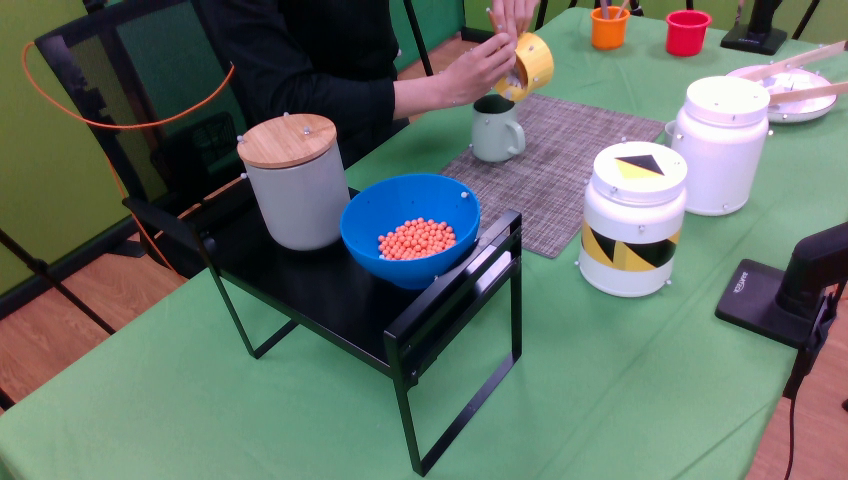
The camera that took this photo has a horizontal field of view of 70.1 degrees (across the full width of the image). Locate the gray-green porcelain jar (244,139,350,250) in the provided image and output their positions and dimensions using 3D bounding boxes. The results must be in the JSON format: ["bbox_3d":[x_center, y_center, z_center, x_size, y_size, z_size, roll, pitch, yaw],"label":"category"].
[{"bbox_3d":[-0.143,-0.060,0.714,0.106,0.127,0.105,-4,41,4],"label":"gray-green porcelain jar"}]

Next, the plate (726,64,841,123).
[{"bbox_3d":[0.695,-0.283,1.189,0.207,0.039,0.206,-4,40,4],"label":"plate"}]

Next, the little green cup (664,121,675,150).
[{"bbox_3d":[0.472,-0.188,1.113,0.061,0.039,0.061,-4,40,4],"label":"little green cup"}]

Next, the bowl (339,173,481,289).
[{"bbox_3d":[-0.011,0.001,0.660,0.151,0.077,0.150,-5,41,5],"label":"bowl"}]

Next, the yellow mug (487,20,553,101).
[{"bbox_3d":[0.164,-0.320,1.067,0.064,0.131,0.099,-35,27,-28],"label":"yellow mug"}]

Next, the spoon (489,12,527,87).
[{"bbox_3d":[0.141,-0.317,1.013,0.021,0.195,0.041,-23,64,20],"label":"spoon"}]

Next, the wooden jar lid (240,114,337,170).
[{"bbox_3d":[-0.149,-0.106,0.673,0.108,0.021,0.108,-6,39,5],"label":"wooden jar lid"}]

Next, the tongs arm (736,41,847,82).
[{"bbox_3d":[0.712,-0.332,1.194,0.386,0.026,0.050,-19,45,-16],"label":"tongs arm"}]

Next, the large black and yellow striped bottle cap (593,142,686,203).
[{"bbox_3d":[0.280,-0.090,0.786,0.115,0.019,0.114,-5,41,5],"label":"large black and yellow striped bottle cap"}]

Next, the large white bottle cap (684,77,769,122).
[{"bbox_3d":[0.448,-0.209,0.898,0.115,0.018,0.114,-4,40,4],"label":"large white bottle cap"}]

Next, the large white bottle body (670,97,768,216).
[{"bbox_3d":[0.458,-0.146,0.952,0.130,0.185,0.130,-4,40,4],"label":"large white bottle body"}]

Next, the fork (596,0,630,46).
[{"bbox_3d":[0.481,-0.556,1.452,0.028,0.019,0.207,40,103,38],"label":"fork"}]

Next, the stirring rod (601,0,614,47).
[{"bbox_3d":[0.440,-0.552,1.463,0.014,0.006,0.175,-7,83,2],"label":"stirring rod"}]

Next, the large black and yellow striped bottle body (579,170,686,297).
[{"bbox_3d":[0.287,-0.027,0.841,0.131,0.185,0.130,-4,40,4],"label":"large black and yellow striped bottle body"}]

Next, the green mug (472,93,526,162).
[{"bbox_3d":[0.144,-0.202,1.123,0.093,0.105,0.124,-29,45,-23],"label":"green mug"}]

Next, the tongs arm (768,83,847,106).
[{"bbox_3d":[0.738,-0.281,1.134,0.388,0.028,0.028,-9,47,-5],"label":"tongs arm"}]
